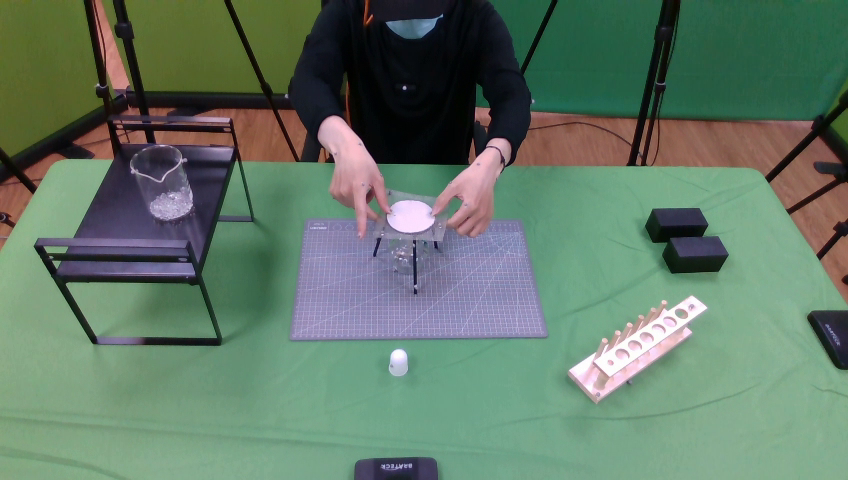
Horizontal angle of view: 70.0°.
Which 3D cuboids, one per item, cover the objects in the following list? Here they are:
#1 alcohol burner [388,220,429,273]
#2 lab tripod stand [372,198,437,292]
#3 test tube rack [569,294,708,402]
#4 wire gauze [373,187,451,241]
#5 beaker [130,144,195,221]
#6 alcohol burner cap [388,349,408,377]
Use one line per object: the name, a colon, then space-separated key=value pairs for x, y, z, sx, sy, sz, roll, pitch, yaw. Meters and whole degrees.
alcohol burner: x=-0.028 y=0.006 z=1.119 sx=0.078 sy=0.119 sz=0.077 roll=2 pitch=48 yaw=-3
lab tripod stand: x=-0.026 y=-0.002 z=1.112 sx=0.148 sy=0.132 sz=0.147 roll=2 pitch=44 yaw=-2
test tube rack: x=0.360 y=0.167 z=1.014 sx=0.242 sy=0.085 sz=0.066 roll=-25 pitch=53 yaw=-25
wire gauze: x=-0.019 y=-0.045 z=1.060 sx=0.121 sy=0.011 sz=0.124 roll=8 pitch=45 yaw=3
beaker: x=-0.403 y=-0.085 z=0.944 sx=0.074 sy=0.101 sz=0.083 roll=-15 pitch=50 yaw=-17
alcohol burner cap: x=-0.042 y=0.197 z=0.989 sx=0.034 sy=0.048 sz=0.033 roll=3 pitch=46 yaw=-2
